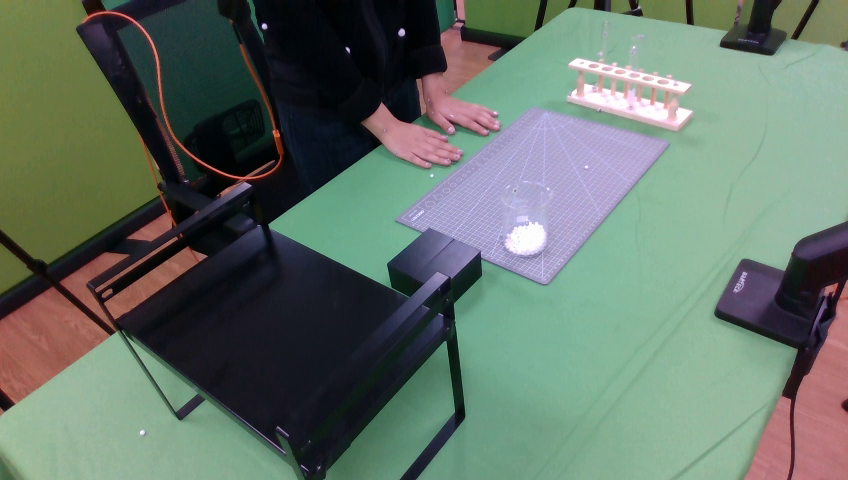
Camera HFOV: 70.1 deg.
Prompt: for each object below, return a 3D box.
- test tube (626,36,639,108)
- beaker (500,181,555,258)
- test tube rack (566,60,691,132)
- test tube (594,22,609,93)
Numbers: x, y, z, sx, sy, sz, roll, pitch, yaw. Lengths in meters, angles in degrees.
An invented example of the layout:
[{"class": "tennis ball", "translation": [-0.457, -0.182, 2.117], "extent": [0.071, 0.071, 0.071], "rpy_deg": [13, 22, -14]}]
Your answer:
[{"class": "test tube", "translation": [0.402, -0.321, 1.167], "extent": [0.017, 0.151, 0.017], "rpy_deg": [-7, 44, 7]}, {"class": "beaker", "translation": [0.158, -0.030, 0.923], "extent": [0.084, 0.100, 0.073], "rpy_deg": [-13, 41, -8]}, {"class": "test tube rack", "translation": [0.411, -0.299, 1.217], "extent": [0.240, 0.085, 0.067], "rpy_deg": [26, 51, 33]}, {"class": "test tube", "translation": [0.363, -0.371, 1.238], "extent": [0.017, 0.151, 0.017], "rpy_deg": [-3, 40, 3]}]
